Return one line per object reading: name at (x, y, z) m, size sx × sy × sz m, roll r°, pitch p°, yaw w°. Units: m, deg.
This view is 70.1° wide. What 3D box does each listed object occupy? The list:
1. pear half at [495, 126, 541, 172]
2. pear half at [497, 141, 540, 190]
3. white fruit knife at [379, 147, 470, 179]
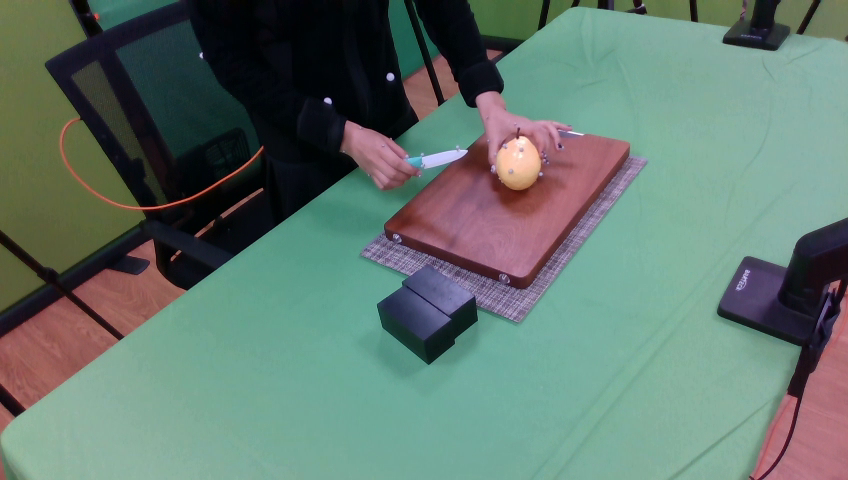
pear half at (0.159, -0.148, 1.012) m, size 0.076 × 0.110 × 0.056 m, roll 2°, pitch 42°, yaw 5°
pear half at (0.155, -0.117, 0.992) m, size 0.070 × 0.088 × 0.031 m, roll 3°, pitch 41°, yaw 4°
white fruit knife at (-0.004, -0.129, 0.987) m, size 0.206 × 0.027 × 0.016 m, roll -8°, pitch 39°, yaw 43°
